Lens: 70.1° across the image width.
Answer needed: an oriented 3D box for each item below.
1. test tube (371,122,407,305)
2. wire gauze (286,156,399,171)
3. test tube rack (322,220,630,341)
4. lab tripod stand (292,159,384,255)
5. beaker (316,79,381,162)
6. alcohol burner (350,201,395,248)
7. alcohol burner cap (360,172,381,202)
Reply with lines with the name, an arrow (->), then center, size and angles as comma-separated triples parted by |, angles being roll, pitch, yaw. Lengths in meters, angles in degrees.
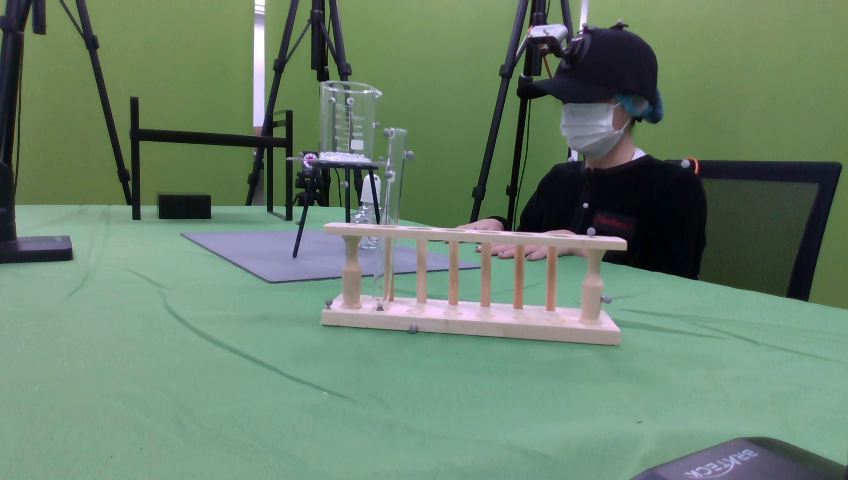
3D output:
test tube -> -0.029, -0.020, 0.493 | 0.017, 0.150, 0.017 | 6, 9, -1
wire gauze -> -0.101, -0.103, 0.788 | 0.121, 0.011, 0.125 | 6, 4, 5
test tube rack -> 0.041, 0.029, 0.512 | 0.242, 0.085, 0.067 | 3, 7, 5
lab tripod stand -> -0.105, -0.039, 0.797 | 0.148, 0.131, 0.148 | 2, 5, 0
beaker -> -0.098, -0.151, 0.778 | 0.084, 0.100, 0.074 | 4, 7, 6
alcohol burner -> -0.084, -0.048, 0.953 | 0.078, 0.119, 0.078 | 1, 6, 0
alcohol burner cap -> -0.081, -0.083, 0.949 | 0.034, 0.048, 0.034 | 7, 7, -1
